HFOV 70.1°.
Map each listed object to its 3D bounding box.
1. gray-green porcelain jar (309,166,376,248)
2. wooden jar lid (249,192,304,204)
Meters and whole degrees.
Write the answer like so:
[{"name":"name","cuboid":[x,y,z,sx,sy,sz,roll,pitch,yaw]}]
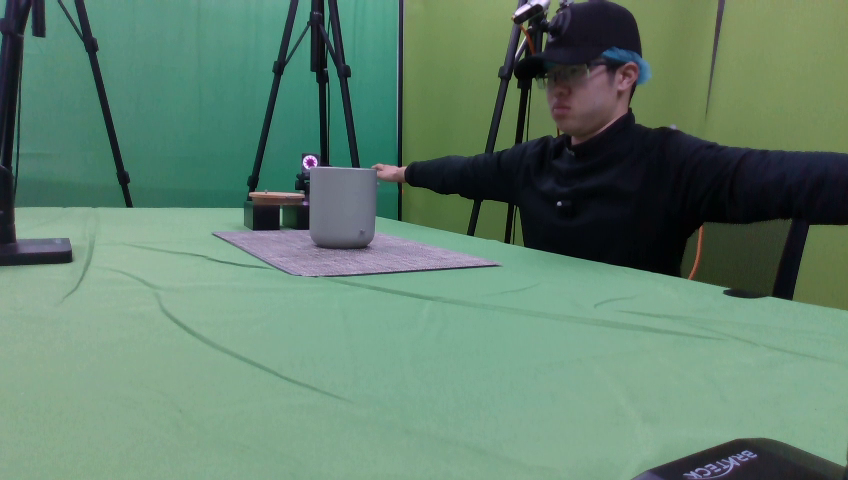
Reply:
[{"name":"gray-green porcelain jar","cuboid":[-0.130,-0.054,0.966,0.106,0.126,0.106,2,7,0]},{"name":"wooden jar lid","cuboid":[-0.297,-0.086,1.220,0.108,0.020,0.108,4,7,0]}]
